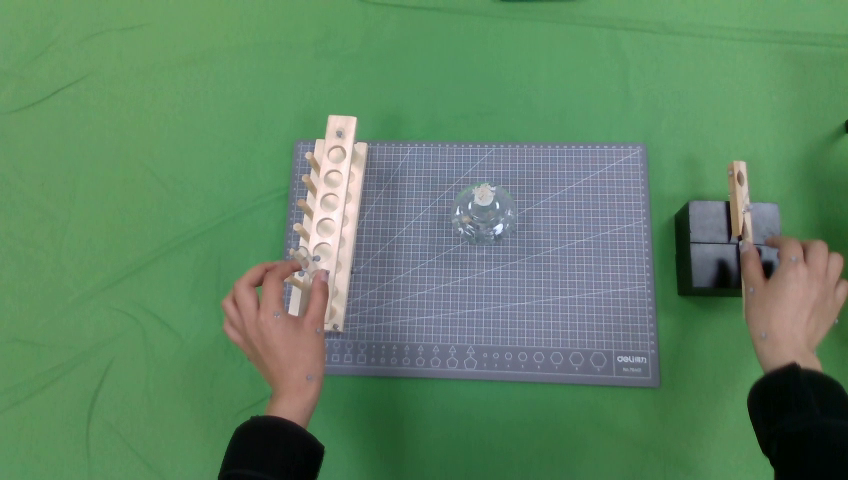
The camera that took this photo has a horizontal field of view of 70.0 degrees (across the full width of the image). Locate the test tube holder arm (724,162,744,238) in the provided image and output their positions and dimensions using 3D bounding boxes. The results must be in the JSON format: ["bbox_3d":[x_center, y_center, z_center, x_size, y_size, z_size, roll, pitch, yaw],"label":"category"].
[{"bbox_3d":[0.349,-0.046,0.681,0.010,0.015,0.087,1,75,-1],"label":"test tube holder arm"}]

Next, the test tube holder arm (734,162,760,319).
[{"bbox_3d":[0.355,-0.002,0.670,0.013,0.015,0.177,0,75,-1],"label":"test tube holder arm"}]

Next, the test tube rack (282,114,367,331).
[{"bbox_3d":[-0.121,-0.021,0.715,0.067,0.085,0.241,5,76,5],"label":"test tube rack"}]

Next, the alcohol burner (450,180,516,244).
[{"bbox_3d":[0.068,-0.037,0.693,0.078,0.120,0.077,-1,76,4],"label":"alcohol burner"}]

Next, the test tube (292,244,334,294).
[{"bbox_3d":[-0.116,0.035,0.648,0.017,0.151,0.017,-1,71,2],"label":"test tube"}]
